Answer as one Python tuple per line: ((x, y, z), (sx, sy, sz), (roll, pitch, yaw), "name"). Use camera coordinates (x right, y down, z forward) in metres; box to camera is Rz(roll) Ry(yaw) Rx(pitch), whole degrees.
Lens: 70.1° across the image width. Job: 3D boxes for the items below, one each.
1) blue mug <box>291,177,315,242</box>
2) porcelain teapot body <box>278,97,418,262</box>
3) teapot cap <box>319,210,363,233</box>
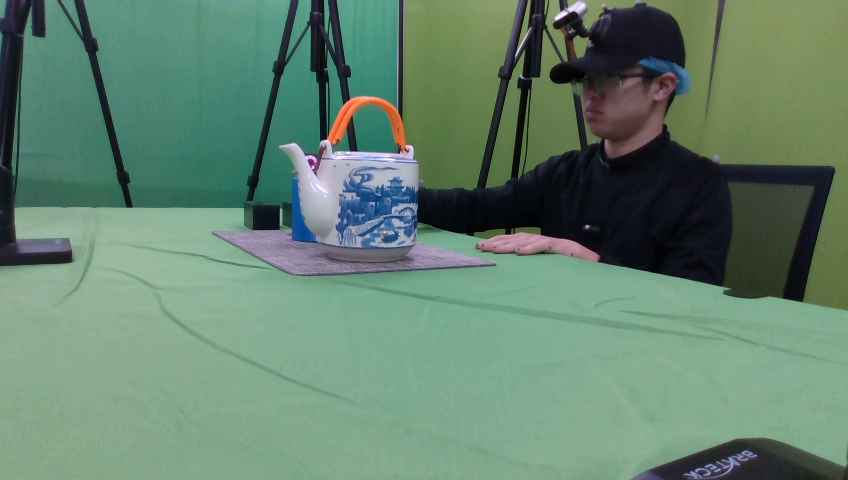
((-0.170, -0.054, 1.037), (0.117, 0.106, 0.082), (-2, 9, -31), "blue mug")
((-0.104, -0.086, 0.842), (0.206, 0.225, 0.144), (-4, 10, -38), "porcelain teapot body")
((-0.157, -0.035, 1.143), (0.085, 0.044, 0.085), (-1, 2, 0), "teapot cap")
